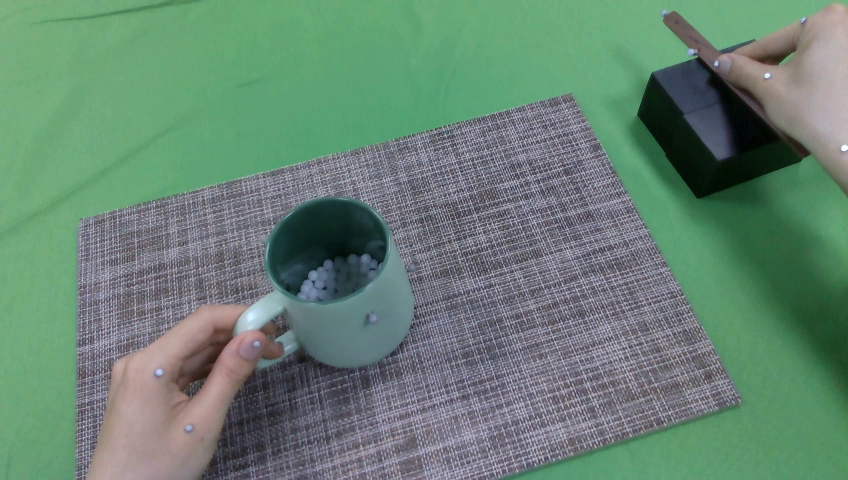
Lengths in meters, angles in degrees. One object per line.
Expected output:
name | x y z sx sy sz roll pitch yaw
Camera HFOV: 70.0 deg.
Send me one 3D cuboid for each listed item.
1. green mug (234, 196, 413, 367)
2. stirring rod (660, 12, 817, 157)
green mug | -0.069 0.041 0.411 0.125 0.106 0.091 -37 64 -16
stirring rod | 0.249 -0.130 0.489 0.014 0.006 0.174 -36 60 12
